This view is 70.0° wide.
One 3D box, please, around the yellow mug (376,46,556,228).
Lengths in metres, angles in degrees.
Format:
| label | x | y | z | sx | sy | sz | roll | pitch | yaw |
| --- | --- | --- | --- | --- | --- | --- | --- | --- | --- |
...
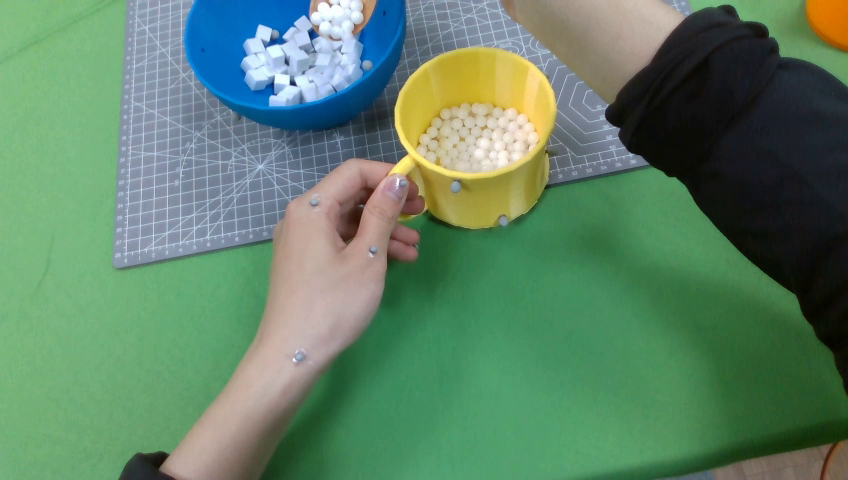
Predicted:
| label | x | y | z | sx | sy | sz | roll | pitch | yaw |
| --- | --- | --- | --- | --- | --- | --- | --- | --- | --- |
| yellow mug | 0.022 | -0.057 | 0.393 | 0.131 | 0.064 | 0.099 | -39 | 66 | -11 |

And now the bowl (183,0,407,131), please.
| label | x | y | z | sx | sy | sz | roll | pitch | yaw |
| --- | --- | --- | --- | --- | --- | --- | --- | --- | --- |
| bowl | -0.082 | -0.132 | 0.433 | 0.151 | 0.077 | 0.150 | -2 | 67 | 6 |

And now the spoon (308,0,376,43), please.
| label | x | y | z | sx | sy | sz | roll | pitch | yaw |
| --- | --- | --- | --- | --- | --- | --- | --- | --- | --- |
| spoon | -0.015 | -0.202 | 0.347 | 0.041 | 0.021 | 0.194 | 39 | 120 | 8 |
